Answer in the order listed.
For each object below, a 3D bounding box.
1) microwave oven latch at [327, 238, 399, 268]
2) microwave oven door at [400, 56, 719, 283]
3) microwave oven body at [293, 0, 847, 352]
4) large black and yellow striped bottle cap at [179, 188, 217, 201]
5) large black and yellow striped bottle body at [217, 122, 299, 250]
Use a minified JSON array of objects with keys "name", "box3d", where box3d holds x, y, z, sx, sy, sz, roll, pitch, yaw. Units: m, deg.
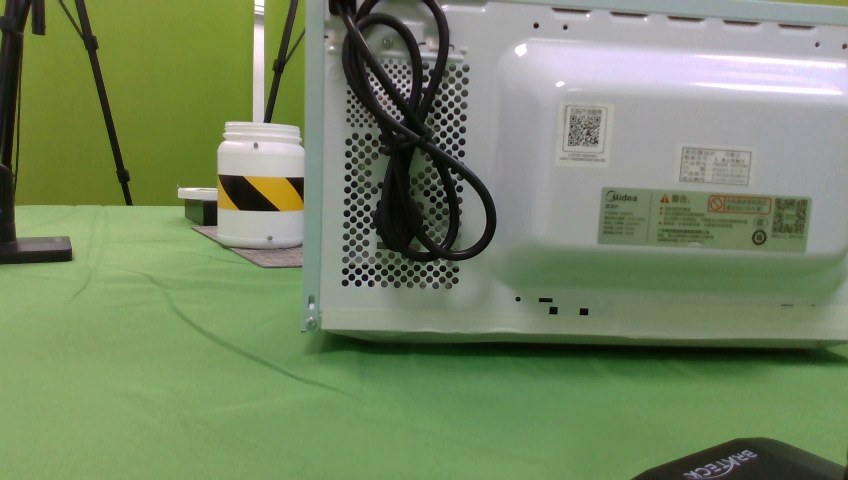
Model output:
[{"name":"microwave oven latch","box3d":[-0.069,0.015,0.694,0.079,0.029,0.030,3,7,-3]},{"name":"microwave oven door","box3d":[0.155,-0.077,0.698,0.356,0.243,0.039,2,8,-5]},{"name":"microwave oven body","box3d":[0.122,-0.055,0.550,0.442,0.260,0.325,3,7,-5]},{"name":"large black and yellow striped bottle cap","box3d":[-0.434,-0.093,1.226,0.115,0.019,0.115,3,9,0]},{"name":"large black and yellow striped bottle body","box3d":[-0.250,-0.084,0.931,0.131,0.184,0.130,2,7,0]}]
